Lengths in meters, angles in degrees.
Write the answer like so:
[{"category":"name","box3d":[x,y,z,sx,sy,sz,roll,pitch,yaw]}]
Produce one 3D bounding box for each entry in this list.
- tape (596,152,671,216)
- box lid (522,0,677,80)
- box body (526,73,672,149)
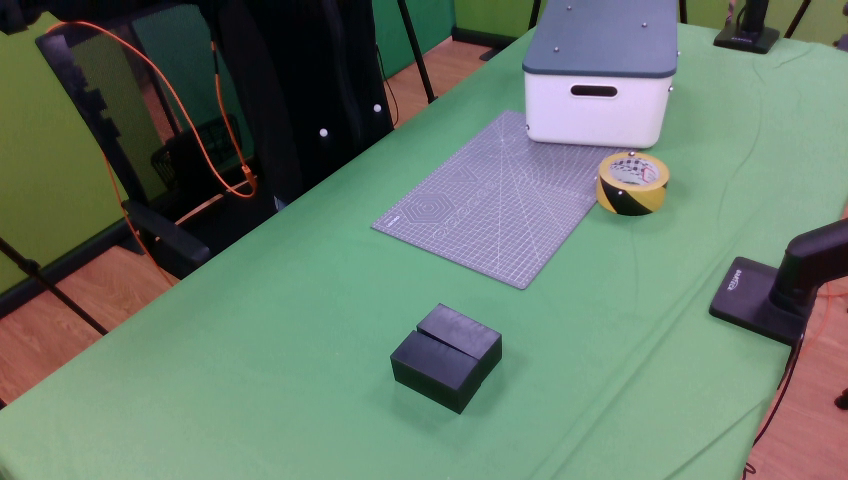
[{"category":"tape","box3d":[0.349,-0.095,1.009,0.117,0.053,0.116,-3,42,3]},{"category":"box lid","box3d":[0.346,-0.397,1.163,0.262,0.015,0.371,6,42,17]},{"category":"box body","box3d":[0.356,-0.342,1.212,0.253,0.161,0.363,7,42,17]}]
